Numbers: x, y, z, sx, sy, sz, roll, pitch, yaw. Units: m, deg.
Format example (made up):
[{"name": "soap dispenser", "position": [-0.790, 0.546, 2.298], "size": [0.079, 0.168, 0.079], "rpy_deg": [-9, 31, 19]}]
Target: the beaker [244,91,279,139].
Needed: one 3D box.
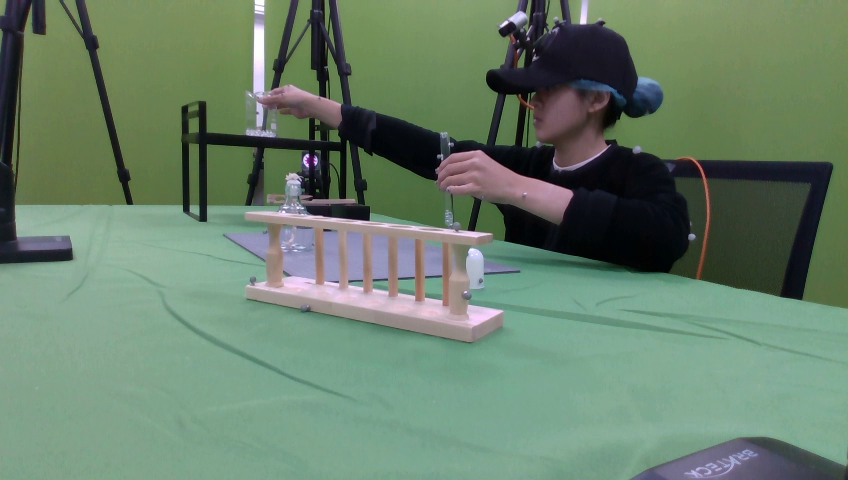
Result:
[{"name": "beaker", "position": [-0.367, -0.280, 1.356], "size": [0.074, 0.100, 0.084], "rpy_deg": [4, 8, 7]}]

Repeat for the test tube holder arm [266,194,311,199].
[{"name": "test tube holder arm", "position": [-0.261, -0.084, 1.173], "size": [0.088, 0.010, 0.015], "rpy_deg": [-2, 2, -30]}]

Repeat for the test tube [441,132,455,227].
[{"name": "test tube", "position": [0.037, -0.096, 0.958], "size": [0.017, 0.150, 0.017], "rpy_deg": [-3, 6, 1]}]

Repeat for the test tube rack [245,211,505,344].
[{"name": "test tube rack", "position": [-0.049, 0.025, 0.547], "size": [0.241, 0.085, 0.067], "rpy_deg": [7, 8, 29]}]

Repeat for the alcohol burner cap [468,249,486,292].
[{"name": "alcohol burner cap", "position": [0.056, 0.035, 0.690], "size": [0.034, 0.048, 0.034], "rpy_deg": [2, 7, 0]}]

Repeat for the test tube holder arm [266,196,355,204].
[{"name": "test tube holder arm", "position": [-0.222, -0.080, 1.196], "size": [0.179, 0.013, 0.015], "rpy_deg": [-3, 3, -30]}]

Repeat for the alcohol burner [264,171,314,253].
[{"name": "alcohol burner", "position": [-0.194, -0.042, 0.888], "size": [0.078, 0.119, 0.078], "rpy_deg": [3, 5, 0]}]
